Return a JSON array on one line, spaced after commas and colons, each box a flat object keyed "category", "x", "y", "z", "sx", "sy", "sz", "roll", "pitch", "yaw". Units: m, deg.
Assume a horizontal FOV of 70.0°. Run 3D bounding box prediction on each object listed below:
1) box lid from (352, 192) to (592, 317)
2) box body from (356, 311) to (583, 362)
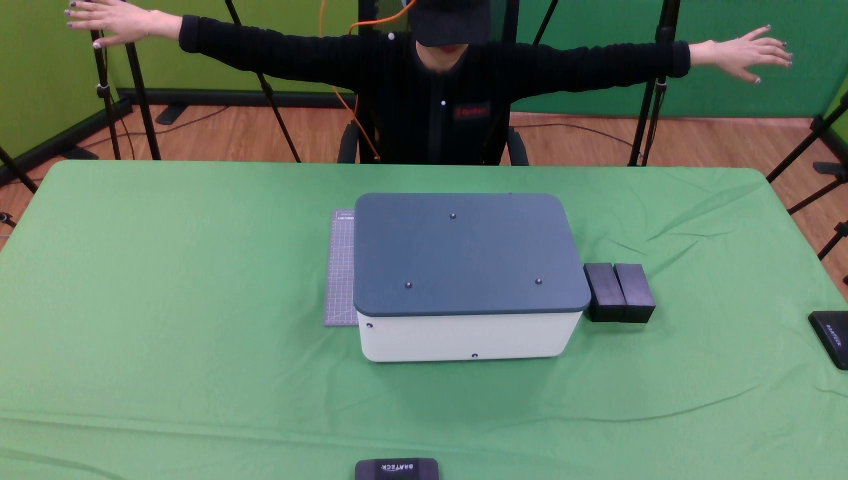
[{"category": "box lid", "x": 0.071, "y": 0.014, "z": 0.986, "sx": 0.372, "sy": 0.015, "sz": 0.261, "roll": -1, "pitch": 47, "yaw": -5}, {"category": "box body", "x": 0.065, "y": 0.066, "z": 1.040, "sx": 0.364, "sy": 0.161, "sz": 0.252, "roll": -1, "pitch": 46, "yaw": -5}]
